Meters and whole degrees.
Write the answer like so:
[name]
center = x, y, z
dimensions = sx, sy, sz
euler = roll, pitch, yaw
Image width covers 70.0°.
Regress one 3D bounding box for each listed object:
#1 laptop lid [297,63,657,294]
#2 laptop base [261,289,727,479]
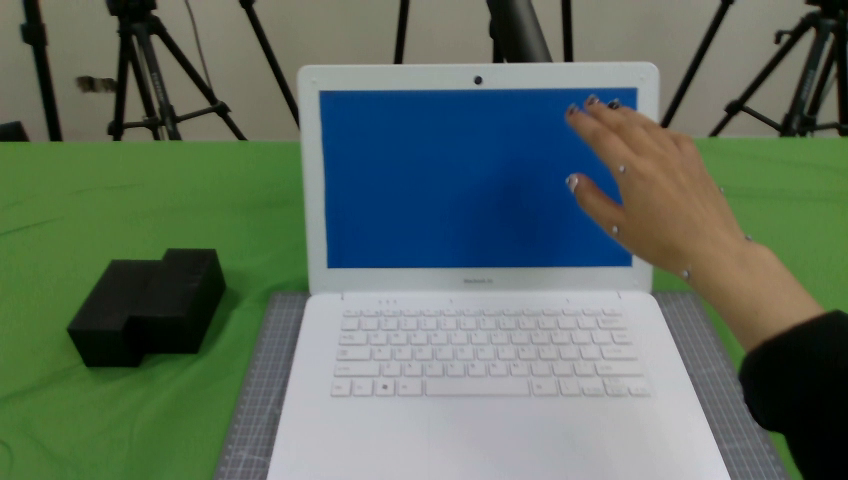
[laptop lid]
center = 0.052, -0.055, 0.607
dimensions = 0.357, 0.242, 0.013
euler = -2, 9, 0
[laptop base]
center = 0.053, 0.130, 0.533
dimensions = 0.354, 0.023, 0.233
euler = 0, 40, 0
